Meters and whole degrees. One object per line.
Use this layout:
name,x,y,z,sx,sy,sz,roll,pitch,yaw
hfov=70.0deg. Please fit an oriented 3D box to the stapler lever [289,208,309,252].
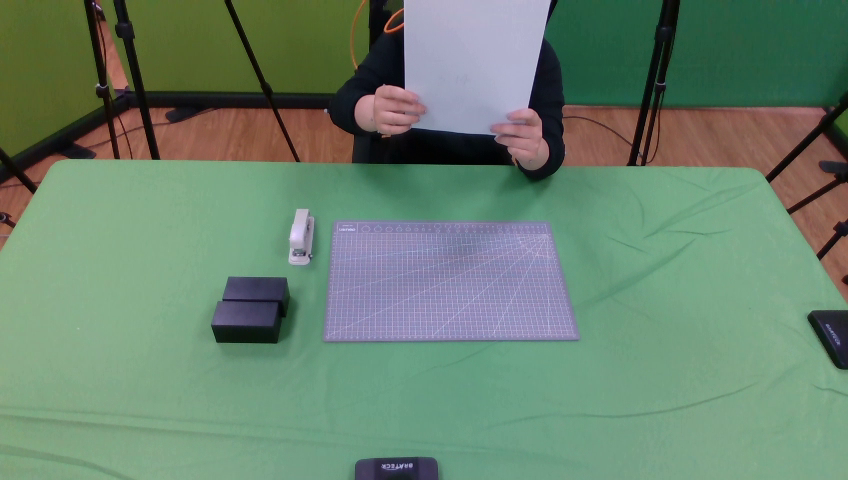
stapler lever,-0.240,-0.026,1.168,0.027,0.040,0.117,1,44,-5

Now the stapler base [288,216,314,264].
stapler base,-0.241,-0.007,1.184,0.041,0.024,0.129,1,44,-5
